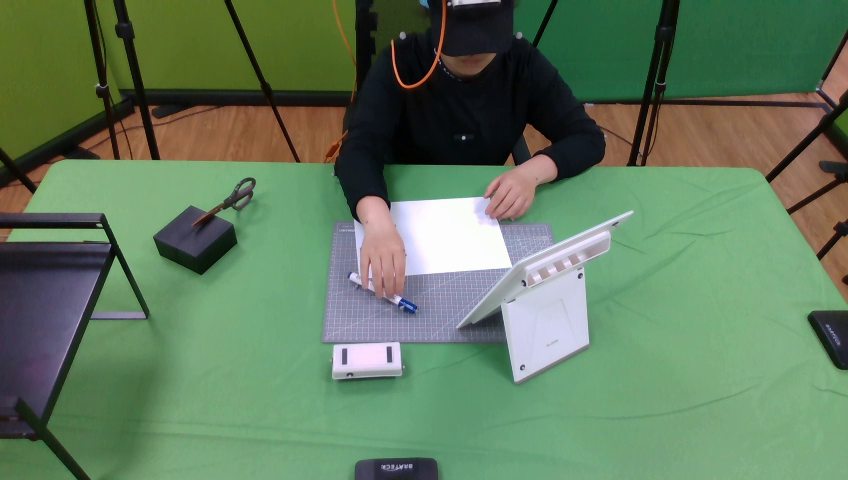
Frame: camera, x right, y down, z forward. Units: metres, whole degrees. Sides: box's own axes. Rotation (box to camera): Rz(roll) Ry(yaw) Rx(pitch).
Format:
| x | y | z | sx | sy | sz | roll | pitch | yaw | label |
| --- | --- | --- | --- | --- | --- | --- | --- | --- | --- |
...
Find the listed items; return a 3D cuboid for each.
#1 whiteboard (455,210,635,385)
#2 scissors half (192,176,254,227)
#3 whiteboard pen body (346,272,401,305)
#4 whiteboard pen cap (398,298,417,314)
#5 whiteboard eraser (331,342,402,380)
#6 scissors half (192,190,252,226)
| x | y | z | sx | sy | sz | roll | pitch | yaw | label |
| --- | --- | --- | --- | --- | --- | --- | --- | --- | --- |
| 0.211 | 0.111 | 0.955 | 0.217 | 0.306 | 0.143 | -21 | 71 | -23 | whiteboard |
| -0.388 | -0.075 | 1.174 | 0.013 | 0.040 | 0.174 | 29 | 47 | 8 | scissors half |
| -0.081 | 0.092 | 1.097 | 0.140 | 0.017 | 0.017 | 25 | 49 | 17 | whiteboard pen body |
| -0.030 | 0.117 | 1.080 | 0.033 | 0.018 | 0.018 | 28 | 50 | 20 | whiteboard pen cap |
| -0.094 | 0.198 | 0.986 | 0.113 | 0.042 | 0.055 | -2 | 44 | -6 | whiteboard eraser |
| -0.393 | -0.060 | 1.187 | 0.013 | 0.040 | 0.175 | 25 | 29 | 11 | scissors half |
